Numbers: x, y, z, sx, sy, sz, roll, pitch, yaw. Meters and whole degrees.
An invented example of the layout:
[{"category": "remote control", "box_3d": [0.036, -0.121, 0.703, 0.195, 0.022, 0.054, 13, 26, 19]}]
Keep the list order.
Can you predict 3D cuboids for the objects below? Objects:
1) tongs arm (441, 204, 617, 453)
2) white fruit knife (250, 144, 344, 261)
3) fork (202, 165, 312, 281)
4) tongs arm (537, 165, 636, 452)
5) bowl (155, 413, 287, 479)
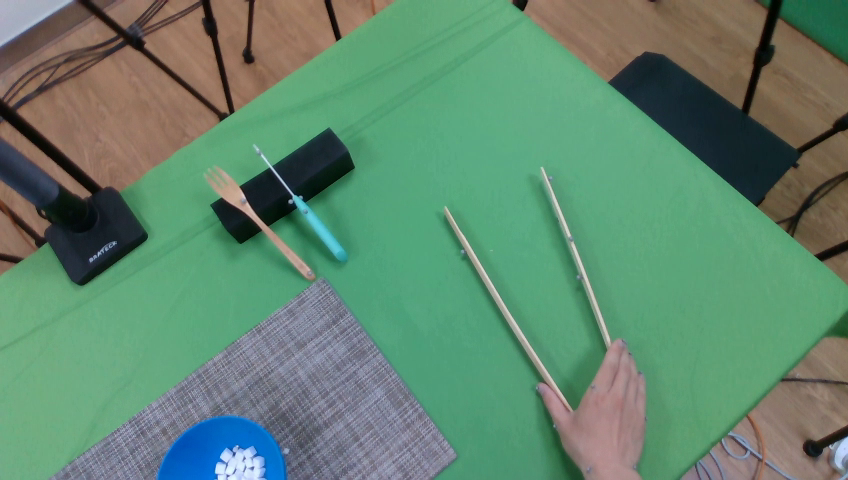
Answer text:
[{"category": "tongs arm", "box_3d": [0.122, 0.106, 0.785, 0.028, 0.028, 0.384, -28, 69, -9]}, {"category": "white fruit knife", "box_3d": [-0.179, -0.054, 0.843, 0.016, 0.027, 0.207, -39, 87, -5]}, {"category": "fork", "box_3d": [-0.228, -0.021, 0.835, 0.028, 0.018, 0.207, -44, 91, -17]}, {"category": "tongs arm", "box_3d": [0.196, 0.075, 0.788, 0.051, 0.027, 0.381, -17, 69, -2]}, {"category": "bowl", "box_3d": [-0.226, 0.285, 0.713, 0.151, 0.077, 0.150, -2, 68, 4]}]
